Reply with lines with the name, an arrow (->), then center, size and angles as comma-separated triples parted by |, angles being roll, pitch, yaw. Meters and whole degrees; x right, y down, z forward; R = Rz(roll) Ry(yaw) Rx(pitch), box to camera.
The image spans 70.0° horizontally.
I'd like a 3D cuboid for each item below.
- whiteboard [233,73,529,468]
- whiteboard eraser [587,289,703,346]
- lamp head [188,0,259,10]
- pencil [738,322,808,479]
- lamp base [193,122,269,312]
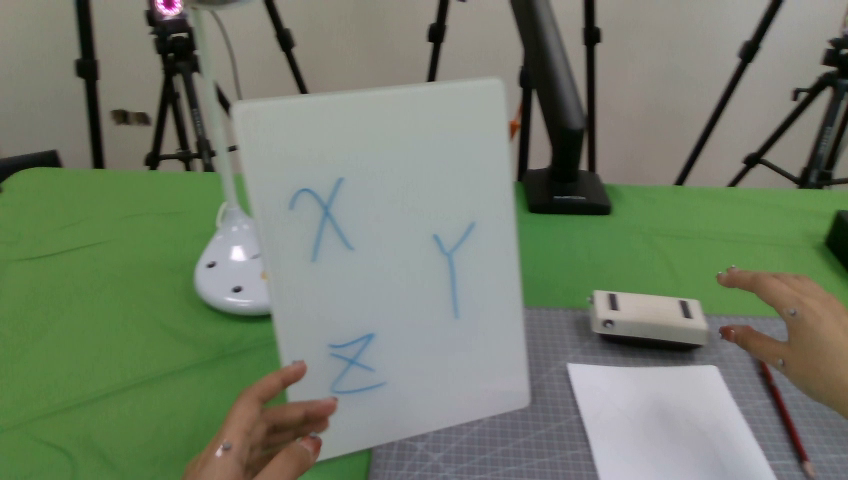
whiteboard -> -0.038, 0.014, 0.564 | 0.218, 0.307, 0.143 | -10, 15, -14
whiteboard eraser -> 0.234, 0.084, 0.648 | 0.112, 0.042, 0.055 | 6, 35, 7
lamp head -> -0.180, -0.271, 0.502 | 0.112, 0.113, 0.122 | -21, 63, -29
pencil -> 0.334, 0.147, 0.584 | 0.012, 0.012, 0.192 | 5, 35, 7
lamp base -> -0.203, -0.035, 0.697 | 0.177, 0.181, 0.161 | 27, 41, 37
